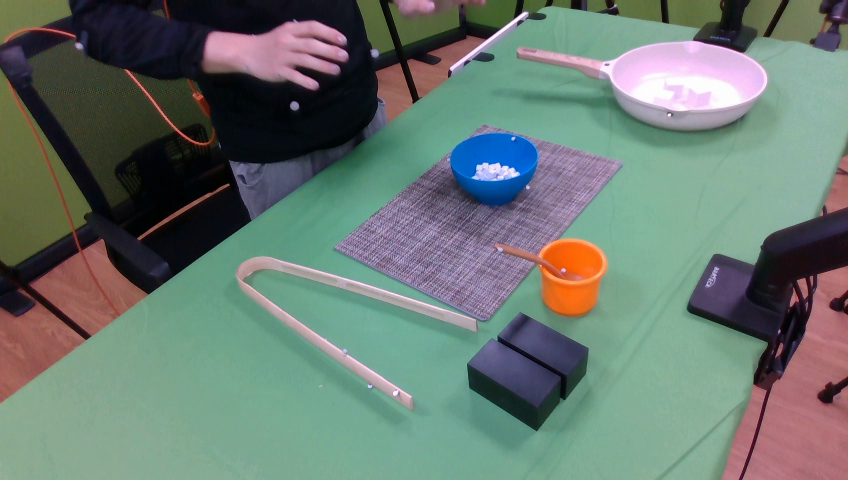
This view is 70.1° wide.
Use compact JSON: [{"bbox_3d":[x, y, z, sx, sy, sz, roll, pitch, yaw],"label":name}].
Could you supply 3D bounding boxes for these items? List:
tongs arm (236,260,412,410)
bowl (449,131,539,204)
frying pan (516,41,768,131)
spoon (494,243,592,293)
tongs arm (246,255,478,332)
[{"bbox_3d":[-0.148,0.120,0.839,0.381,0.026,0.051,24,49,32],"label":"tongs arm"},{"bbox_3d":[0.120,-0.114,1.034,0.151,0.077,0.150,-4,41,4],"label":"bowl"},{"bbox_3d":[0.424,-0.338,1.236,0.486,0.103,0.307,19,45,15],"label":"frying pan"},{"bbox_3d":[0.162,0.034,0.808,0.021,0.195,0.041,-47,40,21],"label":"spoon"},{"bbox_3d":[-0.101,0.076,0.890,0.385,0.028,0.028,14,47,22],"label":"tongs arm"}]
